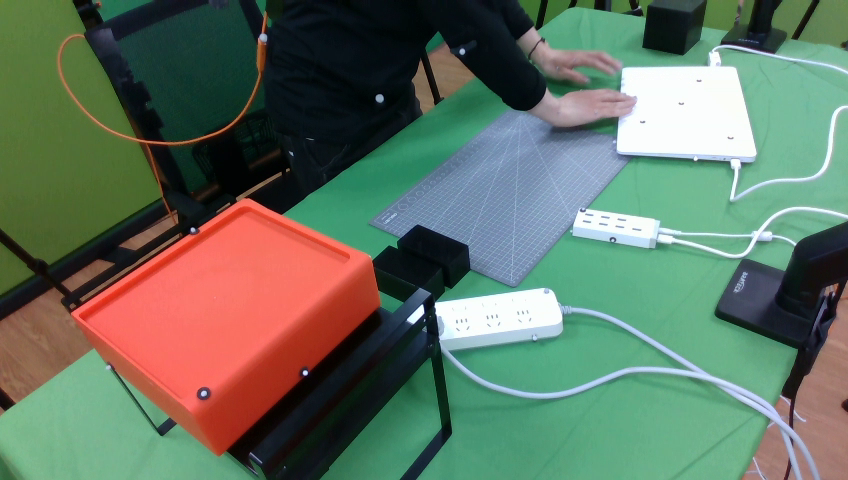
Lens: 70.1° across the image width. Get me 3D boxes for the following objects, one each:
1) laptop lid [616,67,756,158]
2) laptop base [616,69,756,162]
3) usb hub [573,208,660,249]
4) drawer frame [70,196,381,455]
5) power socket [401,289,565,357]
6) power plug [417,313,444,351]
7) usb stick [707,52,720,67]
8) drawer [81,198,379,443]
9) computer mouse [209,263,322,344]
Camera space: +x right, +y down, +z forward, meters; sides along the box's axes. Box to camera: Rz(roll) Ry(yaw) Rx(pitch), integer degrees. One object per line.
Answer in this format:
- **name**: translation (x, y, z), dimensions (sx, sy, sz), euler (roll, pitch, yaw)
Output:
- **laptop lid**: translation (0.506, -0.264, 1.194), dimensions (0.241, 0.013, 0.356), euler (6, 42, 17)
- **laptop base**: translation (0.509, -0.255, 1.202), dimensions (0.234, 0.023, 0.353), euler (3, 41, 17)
- **usb hub**: translation (0.302, -0.019, 0.949), dimensions (0.124, 0.025, 0.049), euler (11, 43, 20)
- **drawer frame**: translation (-0.186, 0.068, 0.597), dimensions (0.200, 0.083, 0.214), euler (23, 49, 30)
- **power socket**: translation (0.081, 0.112, 0.822), dimensions (0.227, 0.033, 0.072), euler (-7, 41, -1)
- **power plug**: translation (0.007, 0.127, 0.786), dimensions (0.035, 0.053, 0.072), euler (0, 43, 8)
- **usb stick**: translation (0.629, -0.382, 1.312), dimensions (0.021, 0.027, 0.059), euler (4, 48, 15)
- **drawer**: translation (-0.186, 0.065, 0.600), dimensions (0.193, 0.073, 0.212), euler (24, 49, 31)
- **computer mouse**: translation (-0.165, 0.062, 0.624), dimensions (0.116, 0.041, 0.063), euler (22, 44, 27)
